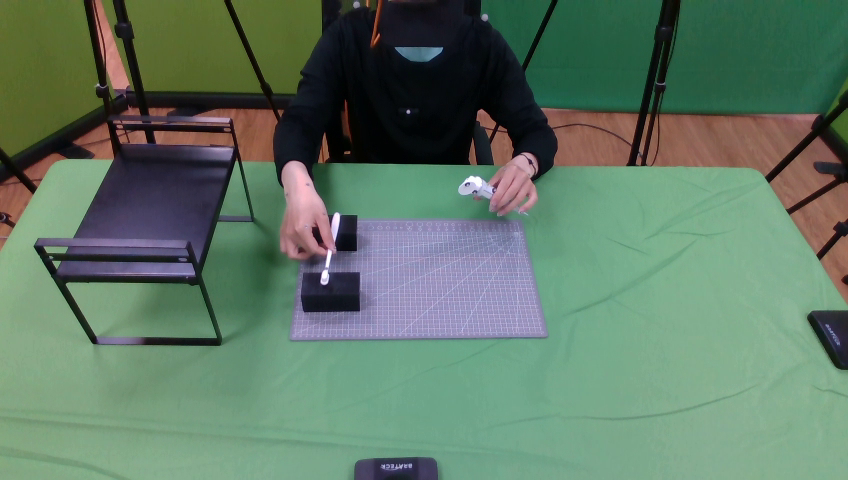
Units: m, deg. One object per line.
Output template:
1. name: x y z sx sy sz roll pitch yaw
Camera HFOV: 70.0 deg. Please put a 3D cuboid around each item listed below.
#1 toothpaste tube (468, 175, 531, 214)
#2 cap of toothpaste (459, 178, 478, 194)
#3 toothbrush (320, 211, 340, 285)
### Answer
1. toothpaste tube: 0.141 -0.086 1.172 0.166 0.034 0.054 22 13 -38
2. cap of toothpaste: 0.080 -0.100 1.104 0.037 0.037 0.011 -13 54 -16
3. toothbrush: -0.170 0.009 1.103 0.014 0.017 0.180 2 45 0
